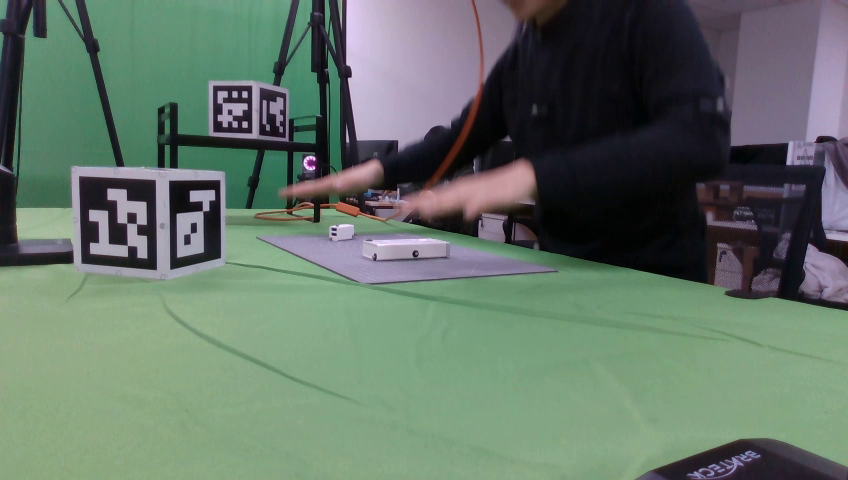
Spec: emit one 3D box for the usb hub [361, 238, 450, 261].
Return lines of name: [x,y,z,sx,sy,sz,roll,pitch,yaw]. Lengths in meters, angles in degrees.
usb hub: [-0.026,0.013,0.894,0.126,0.025,0.049,-1,8,-32]

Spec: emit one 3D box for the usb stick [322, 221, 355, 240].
usb stick: [-0.151,-0.016,1.059,0.059,0.027,0.021,-7,-15,-46]
